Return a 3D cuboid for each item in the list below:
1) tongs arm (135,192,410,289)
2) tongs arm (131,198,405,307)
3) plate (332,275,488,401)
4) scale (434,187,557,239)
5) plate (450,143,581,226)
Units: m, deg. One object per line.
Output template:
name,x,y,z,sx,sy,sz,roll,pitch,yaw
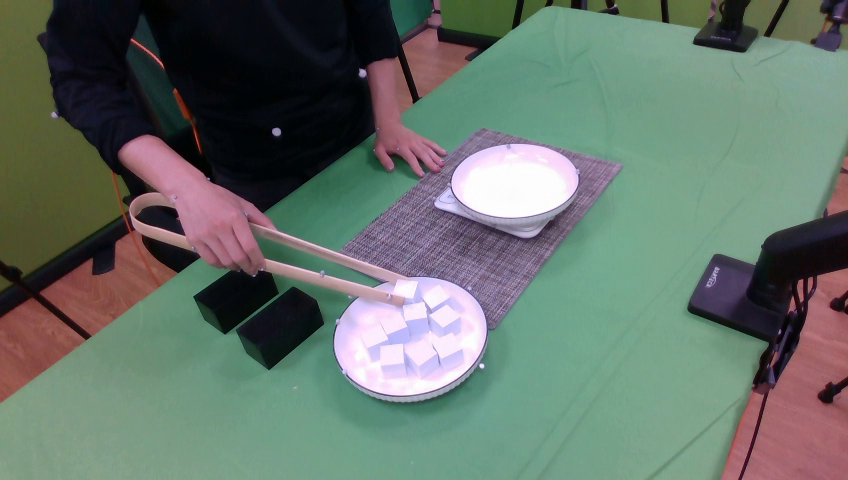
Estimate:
tongs arm,-0.205,0.002,0.837,0.388,0.028,0.028,19,57,-2
tongs arm,-0.210,0.019,0.824,0.386,0.026,0.050,15,54,-5
plate,-0.017,0.131,0.808,0.207,0.039,0.206,-4,41,4
scale,0.132,-0.075,1.025,0.199,0.032,0.149,22,48,30
plate,0.148,-0.087,0.986,0.209,0.038,0.208,-4,41,4
